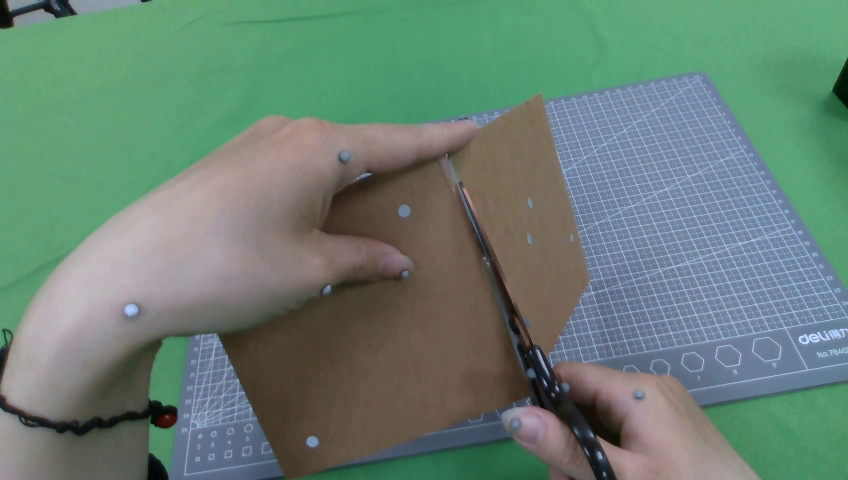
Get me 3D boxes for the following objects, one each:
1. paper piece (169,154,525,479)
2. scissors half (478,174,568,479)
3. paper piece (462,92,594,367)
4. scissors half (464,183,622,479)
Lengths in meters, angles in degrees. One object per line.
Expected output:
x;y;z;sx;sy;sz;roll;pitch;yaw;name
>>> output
-0.032;0.044;0.298;0.138;0.136;0.008;-20;12;1;paper piece
0.048;0.052;0.304;0.013;0.176;0.039;-18;16;-12;scissors half
0.069;-0.009;0.348;0.004;0.136;0.135;-10;16;31;paper piece
0.053;0.050;0.281;0.013;0.040;0.174;-18;73;-17;scissors half
